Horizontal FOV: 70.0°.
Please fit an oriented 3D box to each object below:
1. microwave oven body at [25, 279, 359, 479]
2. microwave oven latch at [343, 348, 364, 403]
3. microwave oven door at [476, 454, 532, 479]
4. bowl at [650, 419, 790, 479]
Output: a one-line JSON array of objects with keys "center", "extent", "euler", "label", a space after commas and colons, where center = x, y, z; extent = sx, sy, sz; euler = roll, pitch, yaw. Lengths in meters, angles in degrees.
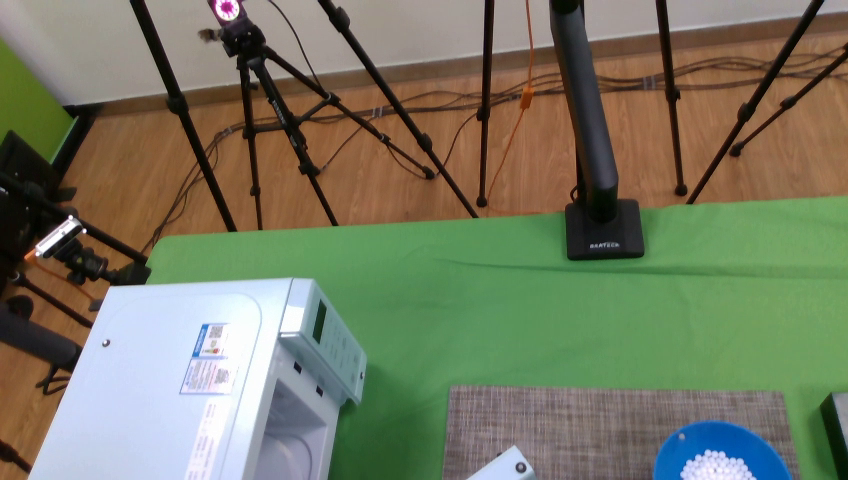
[{"center": [-0.290, 0.303, 0.774], "extent": [0.325, 0.263, 0.437], "euler": [-3, 55, 12], "label": "microwave oven body"}, {"center": [-0.110, 0.205, 0.918], "extent": [0.030, 0.030, 0.078], "euler": [-3, 55, 13], "label": "microwave oven latch"}, {"center": [-0.025, 0.372, 0.646], "extent": [0.356, 0.246, 0.039], "euler": [-33, 53, -9], "label": "microwave oven door"}, {"center": [0.345, 0.299, 0.719], "extent": [0.151, 0.077, 0.150], "euler": [-7, 54, 11], "label": "bowl"}]
